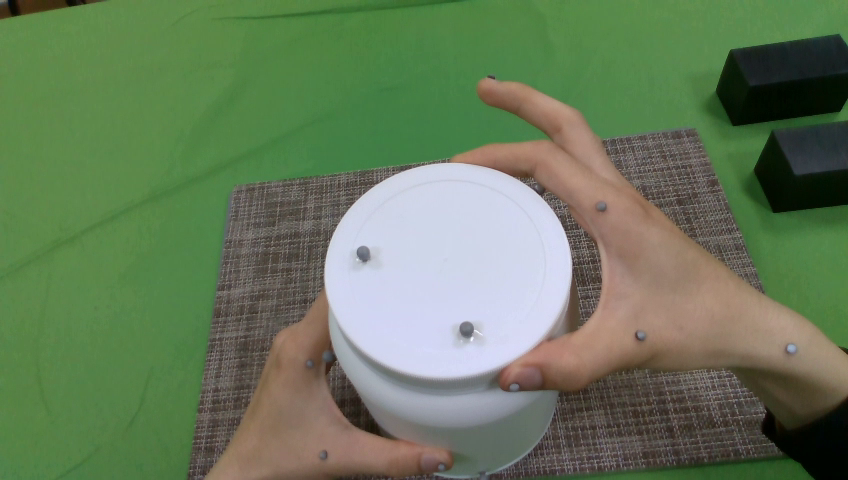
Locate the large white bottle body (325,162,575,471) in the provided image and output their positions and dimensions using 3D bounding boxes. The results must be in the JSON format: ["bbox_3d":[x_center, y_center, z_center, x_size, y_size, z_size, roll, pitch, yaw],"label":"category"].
[{"bbox_3d":[0.017,0.053,0.355,0.130,0.186,0.129,-3,59,5],"label":"large white bottle body"}]

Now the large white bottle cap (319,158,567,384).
[{"bbox_3d":[0.009,0.010,0.283,0.115,0.018,0.114,-2,59,4],"label":"large white bottle cap"}]
